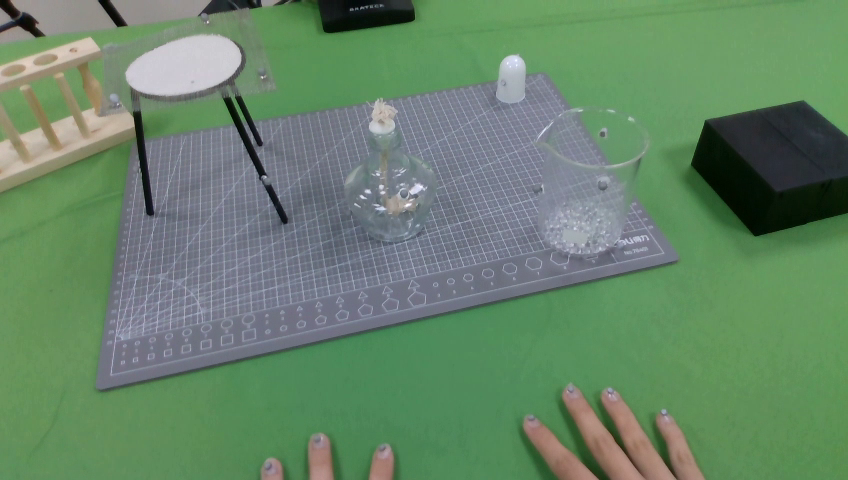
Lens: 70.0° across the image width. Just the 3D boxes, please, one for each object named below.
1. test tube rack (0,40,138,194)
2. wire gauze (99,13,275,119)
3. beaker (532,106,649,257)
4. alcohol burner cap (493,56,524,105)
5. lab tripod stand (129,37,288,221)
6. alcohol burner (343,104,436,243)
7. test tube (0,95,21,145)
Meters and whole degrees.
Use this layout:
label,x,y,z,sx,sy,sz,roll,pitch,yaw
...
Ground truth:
label,x,y,z,sx,sy,sz,roll,pitch,yaw
test tube rack,-0.412,-0.101,0.576,0.242,0.086,0.066,-30,52,-24
wire gauze,-0.187,-0.135,0.467,0.125,0.011,0.120,-16,48,-11
beaker,0.125,-0.042,0.478,0.084,0.101,0.073,2,46,7
alcohol burner cap,0.091,-0.172,0.644,0.034,0.048,0.033,-1,46,2
lab tripod stand,-0.183,-0.089,0.516,0.148,0.133,0.147,-2,48,2
alcohol burner,-0.030,-0.056,0.490,0.078,0.120,0.077,-2,44,2
test tube,-0.410,-0.154,0.558,0.017,0.151,0.017,0,40,0
